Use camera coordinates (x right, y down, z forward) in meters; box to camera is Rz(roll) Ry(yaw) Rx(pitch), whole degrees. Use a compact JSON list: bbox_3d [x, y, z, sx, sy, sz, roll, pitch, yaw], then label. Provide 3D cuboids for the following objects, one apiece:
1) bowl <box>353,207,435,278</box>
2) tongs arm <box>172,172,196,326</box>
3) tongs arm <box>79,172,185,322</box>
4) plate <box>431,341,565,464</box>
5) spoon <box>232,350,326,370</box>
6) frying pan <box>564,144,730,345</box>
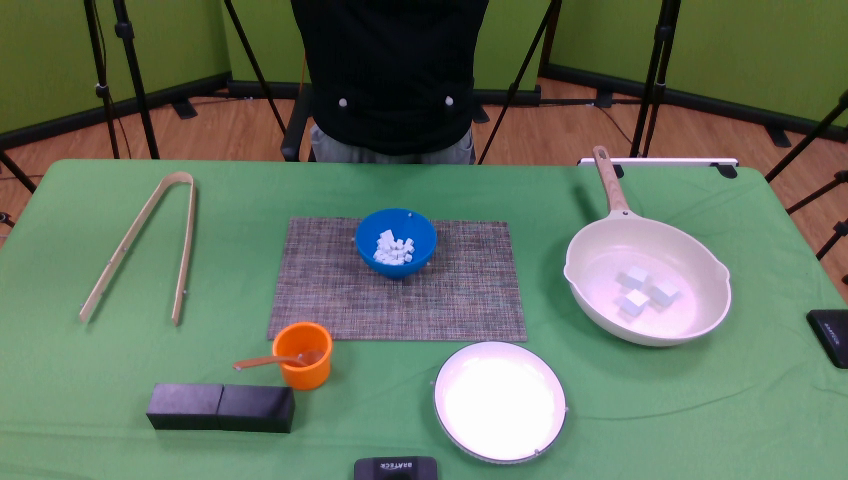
[{"bbox_3d":[-0.056,0.018,1.132,0.151,0.077,0.150,2,46,-2],"label":"bowl"},{"bbox_3d":[-0.459,0.003,1.156,0.028,0.028,0.385,-7,47,-8],"label":"tongs arm"},{"bbox_3d":[-0.541,-0.002,1.147,0.051,0.026,0.382,5,45,-1],"label":"tongs arm"},{"bbox_3d":[0.114,0.255,0.951,0.208,0.039,0.206,3,46,-2],"label":"plate"},{"bbox_3d":[-0.216,0.182,0.919,0.041,0.194,0.021,43,101,28],"label":"spoon"},{"bbox_3d":[0.396,-0.008,1.179,0.307,0.103,0.484,0,55,-5],"label":"frying pan"}]
